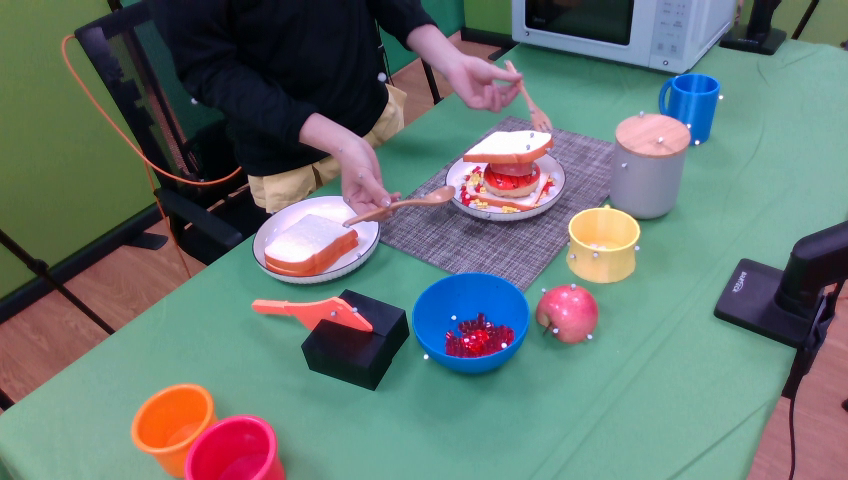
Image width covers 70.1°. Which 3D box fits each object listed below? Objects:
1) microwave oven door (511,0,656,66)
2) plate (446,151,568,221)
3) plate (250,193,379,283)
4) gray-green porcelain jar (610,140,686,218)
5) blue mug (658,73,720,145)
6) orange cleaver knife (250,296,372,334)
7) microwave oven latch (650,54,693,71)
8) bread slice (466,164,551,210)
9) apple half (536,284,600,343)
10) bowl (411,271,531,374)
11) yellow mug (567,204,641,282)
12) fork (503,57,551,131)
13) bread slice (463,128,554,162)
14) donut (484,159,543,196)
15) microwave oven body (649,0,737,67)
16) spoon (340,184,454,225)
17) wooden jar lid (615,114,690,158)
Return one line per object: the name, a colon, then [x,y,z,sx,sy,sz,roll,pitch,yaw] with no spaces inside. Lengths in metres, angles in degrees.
microwave oven door: [0.351,-0.539,1.349,0.353,0.245,0.039,24,50,31]
plate: [0.143,-0.097,1.045,0.207,0.039,0.206,-4,40,4]
plate: [-0.174,-0.001,0.984,0.209,0.038,0.208,-3,40,3]
gray-green porcelain jar: [0.354,-0.106,0.964,0.106,0.127,0.105,-4,41,4]
blue mug: [0.483,-0.250,1.127,0.082,0.106,0.115,-25,44,-19]
orange cleaver knife: [-0.159,0.103,0.828,0.210,0.078,0.012,-4,43,39]
microwave oven latch: [0.531,-0.386,1.301,0.078,0.029,0.030,26,51,33]
bread slice: [0.141,-0.094,1.041,0.133,0.018,0.107,8,41,20]
apple half: [0.196,0.091,0.815,0.075,0.053,0.080,-22,42,-20]
bowl: [0.062,0.119,0.780,0.151,0.077,0.150,-4,40,4]
yellow mug: [0.268,-0.005,0.904,0.099,0.064,0.130,6,42,16]
fork: [0.182,-0.266,1.093,0.028,0.019,0.206,-31,56,17]
bread slice: [0.143,-0.154,0.974,0.130,0.019,0.105,9,35,38]
donut: [0.151,-0.112,1.018,0.099,0.048,0.098,-4,40,4]
microwave oven body: [0.475,-0.602,1.411,0.438,0.261,0.327,23,50,32]
spoon: [-0.037,-0.054,0.898,0.195,0.022,0.041,-16,33,-29]
wooden jar lid: [0.347,-0.155,0.923,0.108,0.021,0.108,-3,44,4]
